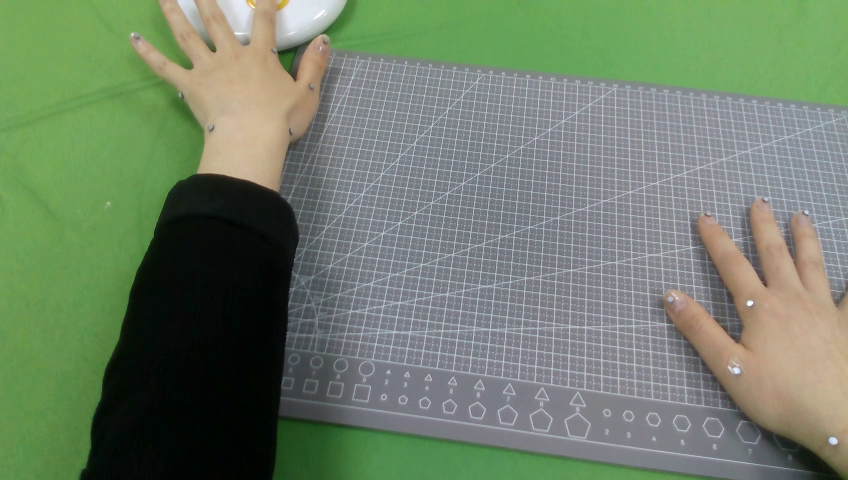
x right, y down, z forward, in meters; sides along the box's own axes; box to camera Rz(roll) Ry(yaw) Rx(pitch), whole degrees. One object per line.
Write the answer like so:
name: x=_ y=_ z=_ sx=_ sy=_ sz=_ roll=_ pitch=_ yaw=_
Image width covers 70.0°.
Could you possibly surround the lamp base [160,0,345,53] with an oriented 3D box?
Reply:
lamp base: x=-0.153 y=-0.269 z=0.464 sx=0.160 sy=0.182 sz=0.177 roll=-30 pitch=62 yaw=-17
